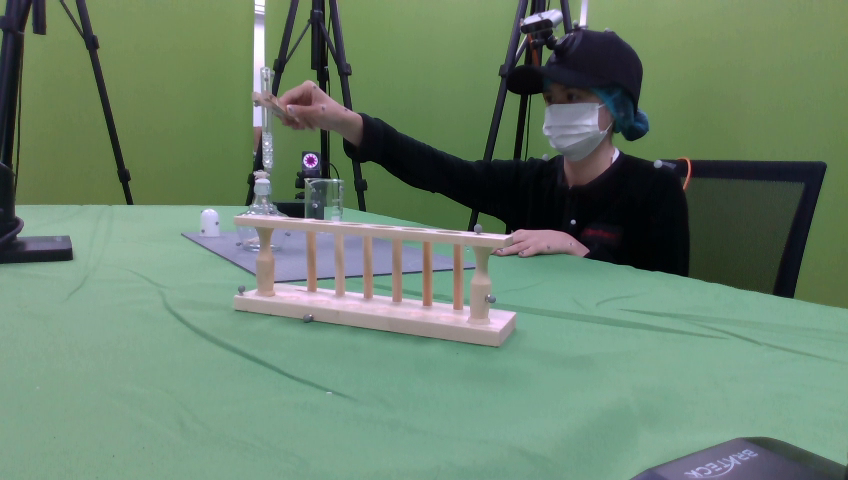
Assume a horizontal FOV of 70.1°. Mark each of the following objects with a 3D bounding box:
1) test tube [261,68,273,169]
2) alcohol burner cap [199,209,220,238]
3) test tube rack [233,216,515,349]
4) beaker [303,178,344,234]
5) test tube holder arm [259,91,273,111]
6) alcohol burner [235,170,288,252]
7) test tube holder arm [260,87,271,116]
[{"bbox_3d":[-0.230,-0.177,0.883,0.017,0.150,0.017,-3,-7,0],"label":"test tube"},{"bbox_3d":[-0.356,-0.027,1.002,0.034,0.048,0.034,2,7,0],"label":"alcohol burner cap"},{"bbox_3d":[-0.045,0.029,0.526,0.241,0.085,0.067,5,8,19],"label":"test tube rack"},{"bbox_3d":[-0.189,-0.063,1.119,0.073,0.100,0.084,7,9,28],"label":"beaker"},{"bbox_3d":[-0.247,-0.220,0.952,0.015,0.013,0.178,0,21,-12],"label":"test tube holder arm"},{"bbox_3d":[-0.236,-0.042,0.882,0.078,0.119,0.078,2,9,0],"label":"alcohol burner"},{"bbox_3d":[-0.238,-0.207,0.910,0.015,0.010,0.087,2,-10,-12],"label":"test tube holder arm"}]
